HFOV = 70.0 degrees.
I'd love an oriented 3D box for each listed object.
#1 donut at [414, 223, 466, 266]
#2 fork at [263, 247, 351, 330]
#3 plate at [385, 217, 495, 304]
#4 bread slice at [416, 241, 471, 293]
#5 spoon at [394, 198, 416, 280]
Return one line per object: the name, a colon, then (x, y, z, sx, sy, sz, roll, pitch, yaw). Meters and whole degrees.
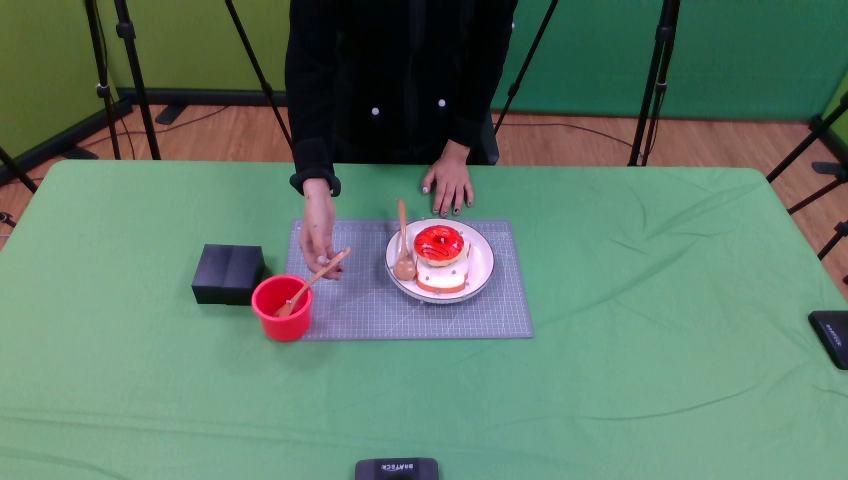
donut: (0.030, 0.008, 1.140, 0.099, 0.048, 0.098, 0, 42, 0)
fork: (-0.197, 0.081, 1.016, 0.207, 0.019, 0.028, -44, 51, 14)
plate: (0.030, 0.041, 1.145, 0.209, 0.038, 0.208, 2, 46, -2)
bread slice: (0.037, 0.046, 1.144, 0.105, 0.019, 0.131, 4, 45, 2)
spoon: (-0.039, -0.006, 1.166, 0.042, 0.022, 0.192, 1, 59, -7)
